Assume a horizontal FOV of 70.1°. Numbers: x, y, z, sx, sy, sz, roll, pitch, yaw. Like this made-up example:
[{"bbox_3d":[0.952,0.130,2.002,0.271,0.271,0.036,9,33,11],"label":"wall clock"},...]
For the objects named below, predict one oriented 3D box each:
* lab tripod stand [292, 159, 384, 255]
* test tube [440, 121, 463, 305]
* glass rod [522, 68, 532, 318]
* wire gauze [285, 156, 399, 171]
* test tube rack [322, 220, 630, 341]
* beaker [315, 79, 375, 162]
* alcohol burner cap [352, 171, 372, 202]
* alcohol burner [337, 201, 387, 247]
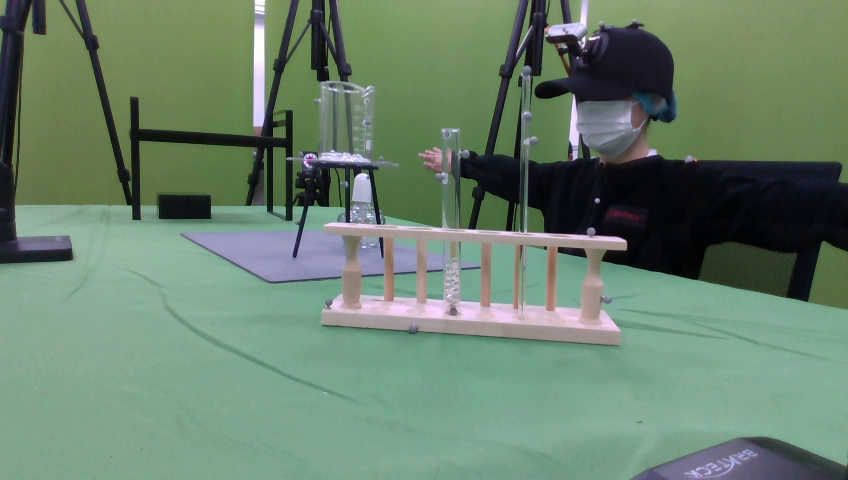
[{"bbox_3d":[-0.105,-0.039,0.797,0.148,0.131,0.148,2,5,0],"label":"lab tripod stand"},{"bbox_3d":[0.023,-0.019,0.487,0.017,0.150,0.017,-2,14,1],"label":"test tube"},{"bbox_3d":[0.080,-0.031,0.473,0.008,0.199,0.008,-2,14,1],"label":"glass rod"},{"bbox_3d":[-0.102,-0.103,0.787,0.121,0.011,0.125,5,4,6],"label":"wire gauze"},{"bbox_3d":[0.041,0.029,0.512,0.242,0.085,0.067,3,7,5],"label":"test tube rack"},{"bbox_3d":[-0.100,-0.151,0.778,0.074,0.100,0.083,-3,8,-38],"label":"beaker"},{"bbox_3d":[-0.096,-0.084,0.951,0.034,0.048,0.034,6,5,0],"label":"alcohol burner cap"},{"bbox_3d":[-0.098,-0.049,0.954,0.078,0.119,0.078,0,6,0],"label":"alcohol burner"}]
